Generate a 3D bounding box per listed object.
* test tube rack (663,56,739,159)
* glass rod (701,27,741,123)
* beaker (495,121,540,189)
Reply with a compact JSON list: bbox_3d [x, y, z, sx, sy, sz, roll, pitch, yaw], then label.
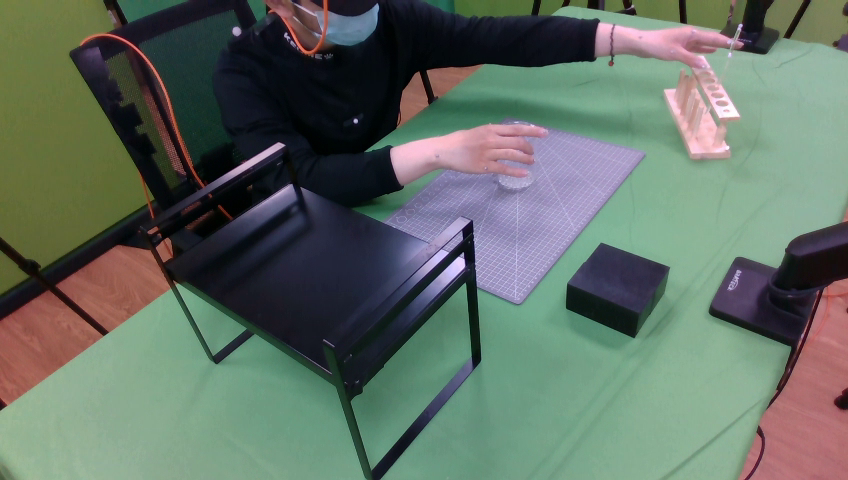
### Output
[{"bbox_3d":[0.517,-0.256,1.144,0.066,0.085,0.241,-1,41,8],"label":"test tube rack"},{"bbox_3d":[0.527,-0.288,1.078,0.008,0.200,0.008,-1,50,2],"label":"glass rod"},{"bbox_3d":[0.166,-0.147,1.054,0.084,0.101,0.073,-23,43,-18],"label":"beaker"}]
